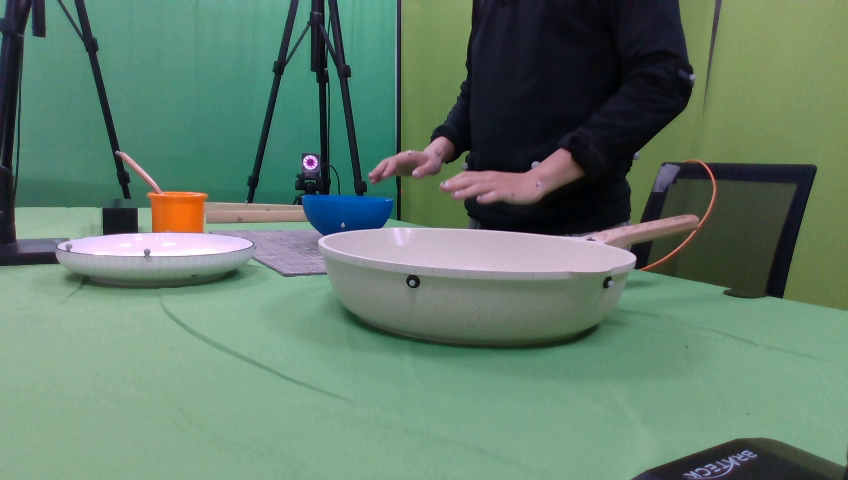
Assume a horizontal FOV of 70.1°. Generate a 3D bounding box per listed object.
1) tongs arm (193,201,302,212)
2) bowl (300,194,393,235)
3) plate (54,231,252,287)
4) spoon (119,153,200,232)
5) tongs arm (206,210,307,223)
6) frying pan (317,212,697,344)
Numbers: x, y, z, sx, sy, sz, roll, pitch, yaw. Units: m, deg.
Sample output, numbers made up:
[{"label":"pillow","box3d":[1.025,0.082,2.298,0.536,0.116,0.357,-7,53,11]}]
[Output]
[{"label":"tongs arm","box3d":[-0.338,-0.072,1.429,0.387,0.026,0.050,0,9,-26]},{"label":"bowl","box3d":[-0.128,-0.034,0.995,0.151,0.077,0.151,2,7,0]},{"label":"plate","box3d":[-0.309,0.020,0.705,0.208,0.039,0.207,3,7,0]},{"label":"spoon","box3d":[-0.439,-0.077,1.000,0.021,0.193,0.042,-43,-7,21]},{"label":"tongs arm","box3d":[-0.297,-0.057,1.360,0.390,0.028,0.028,-3,7,-39]},{"label":"frying pan","box3d":[0.133,0.013,0.629,0.490,0.102,0.305,-12,14,-31]}]
